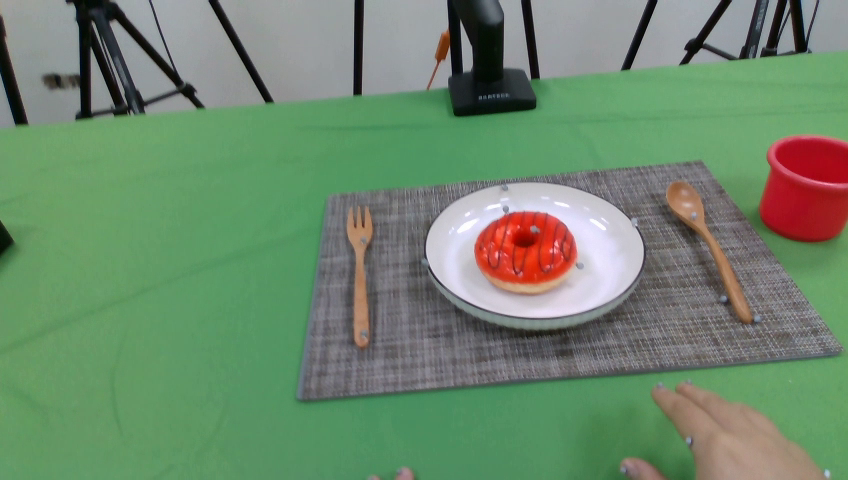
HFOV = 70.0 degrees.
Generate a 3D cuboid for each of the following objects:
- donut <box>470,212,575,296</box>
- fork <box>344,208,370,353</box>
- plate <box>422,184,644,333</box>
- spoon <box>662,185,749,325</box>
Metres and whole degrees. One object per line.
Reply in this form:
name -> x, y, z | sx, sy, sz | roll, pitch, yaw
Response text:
donut -> 0.094, 0.012, 0.579 | 0.099, 0.049, 0.098 | -4, 42, 4
fork -> -0.066, 0.032, 0.605 | 0.028, 0.019, 0.205 | -1, 37, -6
plate -> 0.103, 0.017, 0.590 | 0.209, 0.038, 0.207 | -3, 39, 3
spoon -> 0.276, 0.008, 0.595 | 0.042, 0.022, 0.192 | 10, 38, -9
